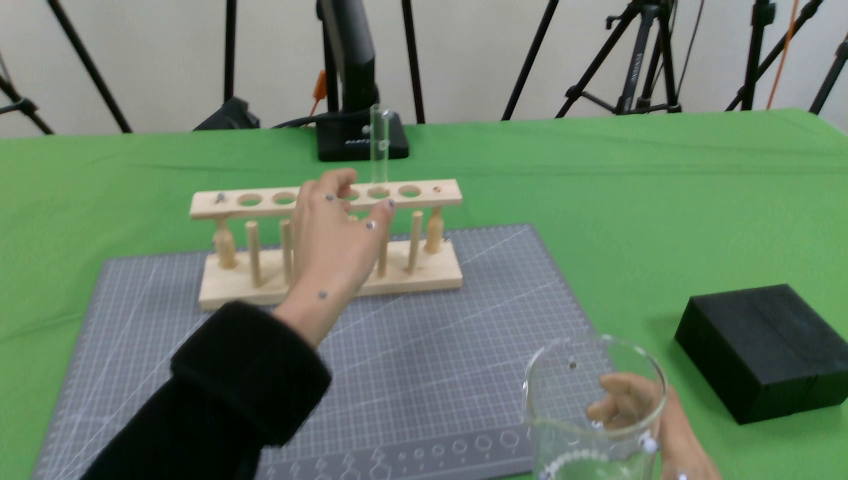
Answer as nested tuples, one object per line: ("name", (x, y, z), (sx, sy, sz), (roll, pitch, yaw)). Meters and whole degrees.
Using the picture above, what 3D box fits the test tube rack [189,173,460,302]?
("test tube rack", (-0.087, -0.004, 0.572), (0.243, 0.086, 0.066), (-4, 39, -10))

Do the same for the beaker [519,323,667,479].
("beaker", (0.094, 0.112, 0.352), (0.084, 0.101, 0.073), (-20, 34, -17))

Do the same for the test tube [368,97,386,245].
("test tube", (-0.044, -0.059, 0.565), (0.017, 0.151, 0.017), (2, 34, -1))
